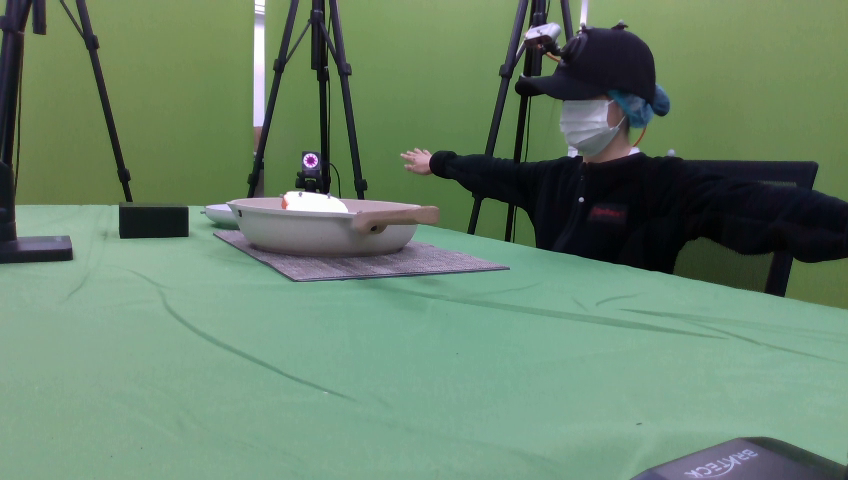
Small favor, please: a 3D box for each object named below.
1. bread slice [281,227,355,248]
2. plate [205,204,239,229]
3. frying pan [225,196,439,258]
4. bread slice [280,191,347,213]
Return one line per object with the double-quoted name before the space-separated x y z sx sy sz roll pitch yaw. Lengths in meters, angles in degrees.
"bread slice" -0.170 -0.005 0.943 0.107 0.018 0.134 2 7 -15
"plate" -0.324 -0.046 1.199 0.208 0.039 0.207 3 7 0
"frying pan" -0.103 -0.027 0.845 0.308 0.102 0.486 -1 0 -25
"bread slice" -0.171 -0.049 0.934 0.105 0.019 0.131 7 18 -20
